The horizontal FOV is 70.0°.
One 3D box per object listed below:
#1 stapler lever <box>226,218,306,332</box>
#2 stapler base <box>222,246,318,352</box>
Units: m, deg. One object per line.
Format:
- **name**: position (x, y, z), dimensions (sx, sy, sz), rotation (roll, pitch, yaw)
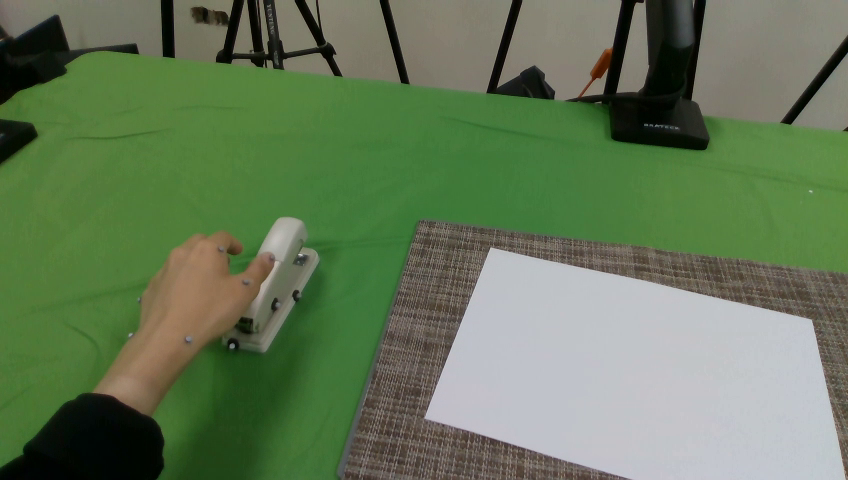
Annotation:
- **stapler lever**: position (-0.136, 0.026, 0.530), dimensions (0.027, 0.040, 0.117), rotation (9, 41, 11)
- **stapler base**: position (-0.137, 0.043, 0.547), dimensions (0.041, 0.024, 0.129), rotation (9, 42, 11)
